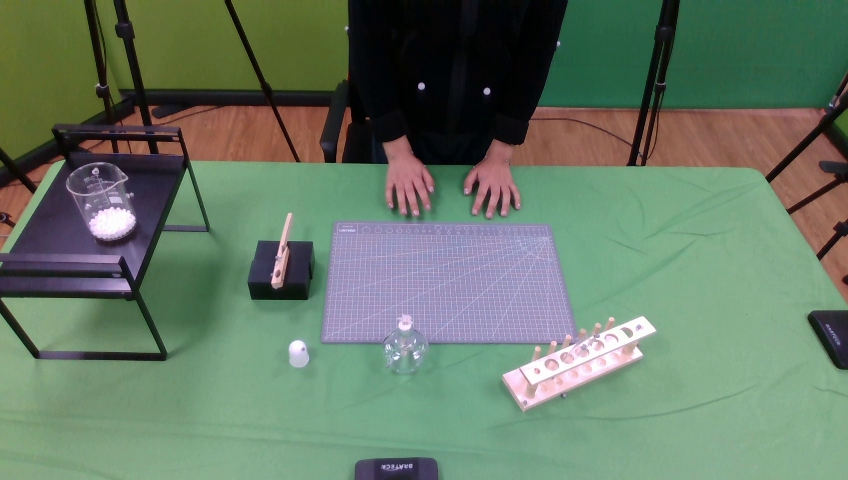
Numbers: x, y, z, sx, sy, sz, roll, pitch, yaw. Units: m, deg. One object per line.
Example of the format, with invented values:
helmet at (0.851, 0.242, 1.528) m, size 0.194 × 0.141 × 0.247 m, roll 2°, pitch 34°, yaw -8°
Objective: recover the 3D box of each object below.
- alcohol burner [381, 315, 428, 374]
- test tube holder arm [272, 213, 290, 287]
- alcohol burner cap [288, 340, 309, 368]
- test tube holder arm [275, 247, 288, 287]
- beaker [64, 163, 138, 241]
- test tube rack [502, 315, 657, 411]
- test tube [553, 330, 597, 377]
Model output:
alcohol burner at (-0.031, 0.162, 0.973) m, size 0.078 × 0.120 × 0.077 m, roll 2°, pitch 44°, yaw -1°
test tube holder arm at (-0.259, 0.015, 1.099) m, size 0.013 × 0.015 × 0.177 m, roll -2°, pitch 45°, yaw -3°
alcohol burner cap at (-0.207, 0.183, 0.991) m, size 0.034 × 0.048 × 0.033 m, roll 3°, pitch 46°, yaw -3°
test tube holder arm at (-0.251, 0.046, 1.067) m, size 0.010 × 0.015 × 0.087 m, roll -1°, pitch 45°, yaw -3°
beaker at (-0.477, -0.055, 0.910) m, size 0.084 × 0.101 × 0.073 m, roll -9°, pitch 48°, yaw -13°
test tube rack at (0.253, 0.186, 0.989) m, size 0.242 × 0.085 × 0.066 m, roll -18°, pitch 50°, yaw -20°
test tube at (0.226, 0.176, 0.924) m, size 0.017 × 0.151 × 0.017 m, roll 6°, pitch 55°, yaw -9°
